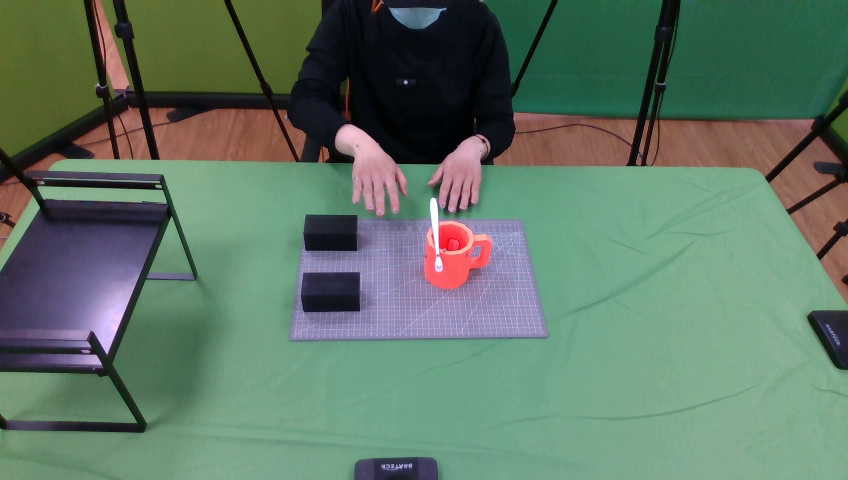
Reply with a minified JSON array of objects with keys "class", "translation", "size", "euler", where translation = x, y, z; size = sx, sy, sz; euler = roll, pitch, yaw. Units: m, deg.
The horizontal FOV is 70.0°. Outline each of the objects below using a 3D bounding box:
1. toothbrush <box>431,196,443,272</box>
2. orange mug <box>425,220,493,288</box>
[{"class":"toothbrush","translation":[0.022,-0.016,1.081],"size":[0.014,0.017,0.180],"euler":[-8,47,5]},{"class":"orange mug","translation":[0.064,0.023,1.119],"size":[0.126,0.101,0.083],"euler":[-9,47,-6]}]
